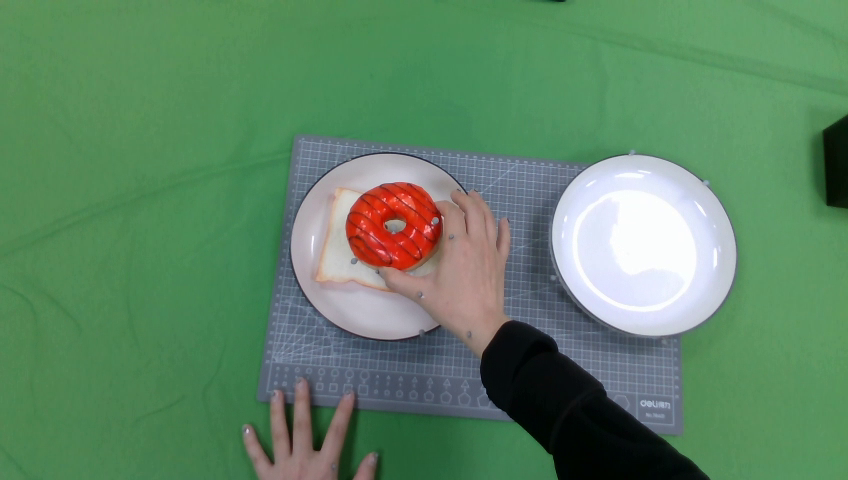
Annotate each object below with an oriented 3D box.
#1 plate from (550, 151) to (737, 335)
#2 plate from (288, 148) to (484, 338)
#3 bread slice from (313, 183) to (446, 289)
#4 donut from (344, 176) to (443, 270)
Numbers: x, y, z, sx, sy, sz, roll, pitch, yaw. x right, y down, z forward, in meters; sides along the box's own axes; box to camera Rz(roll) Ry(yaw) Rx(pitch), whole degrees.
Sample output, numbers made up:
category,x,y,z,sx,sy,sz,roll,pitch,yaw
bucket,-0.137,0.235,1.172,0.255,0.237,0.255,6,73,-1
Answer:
category,x,y,z,sx,sy,sz,roll,pitch,yaw
plate,0.240,0.004,0.677,0.208,0.039,0.206,1,76,-4
plate,-0.040,0.004,0.655,0.209,0.038,0.208,1,76,-4
bread slice,-0.044,-0.001,0.656,0.134,0.018,0.106,8,77,-4
donut,-0.030,-0.017,0.598,0.099,0.048,0.098,-3,66,7
